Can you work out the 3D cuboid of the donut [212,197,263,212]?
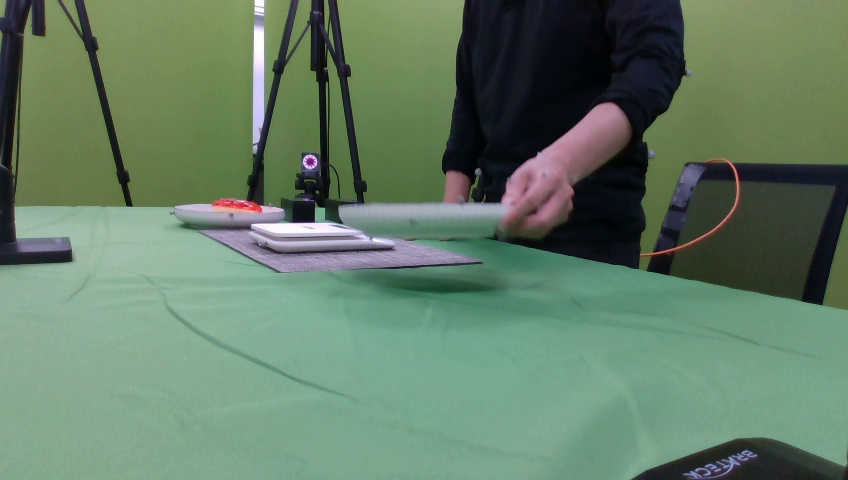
[{"bbox_3d":[-0.376,-0.061,1.220,0.099,0.048,0.099,5,4,0],"label":"donut"}]

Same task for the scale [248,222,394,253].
[{"bbox_3d":[-0.162,-0.006,0.954,0.202,0.031,0.148,-1,9,-32],"label":"scale"}]

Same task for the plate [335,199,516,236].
[{"bbox_3d":[0.002,-0.025,0.698,0.209,0.038,0.209,0,2,0],"label":"plate"}]

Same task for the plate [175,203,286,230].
[{"bbox_3d":[-0.380,-0.047,1.199,0.208,0.039,0.207,3,7,0],"label":"plate"}]

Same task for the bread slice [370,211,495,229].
[{"bbox_3d":[0.006,-0.023,0.693,0.104,0.019,0.132,0,2,35],"label":"bread slice"}]
